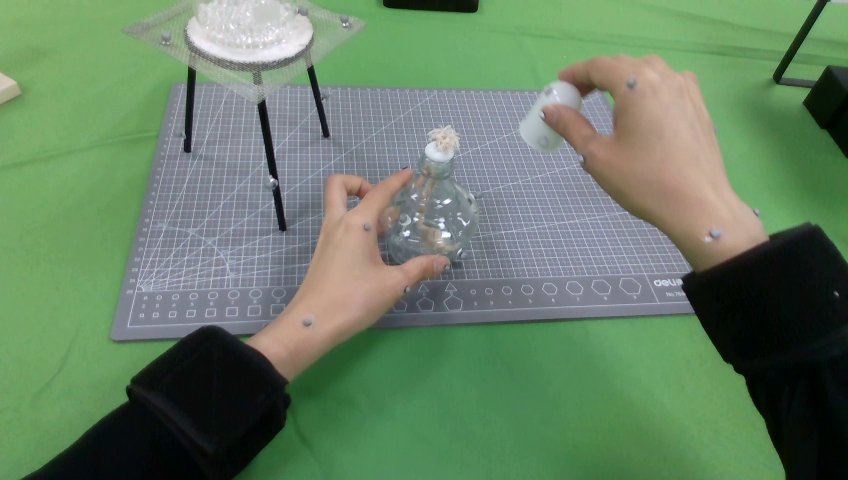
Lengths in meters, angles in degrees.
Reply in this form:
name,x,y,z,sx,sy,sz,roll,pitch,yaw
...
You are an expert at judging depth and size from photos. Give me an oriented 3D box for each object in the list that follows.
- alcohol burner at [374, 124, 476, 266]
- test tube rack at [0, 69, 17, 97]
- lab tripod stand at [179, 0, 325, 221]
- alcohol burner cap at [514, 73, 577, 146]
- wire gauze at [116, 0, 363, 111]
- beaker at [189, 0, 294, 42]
name,x,y,z,sx,sy,sz,roll,pitch,yaw
alcohol burner,0.003,-0.037,0.447,0.078,0.120,0.077,5,46,-5
test tube rack,-0.460,-0.111,0.463,0.066,0.086,0.241,28,51,16
lab tripod stand,-0.131,-0.109,0.476,0.149,0.132,0.147,6,49,-6
alcohol burner cap,0.083,-0.089,0.404,0.034,0.048,0.033,8,56,-12
wire gauze,-0.126,-0.152,0.428,0.124,0.011,0.121,31,54,13
beaker,-0.124,-0.189,0.394,0.073,0.101,0.084,36,55,20
